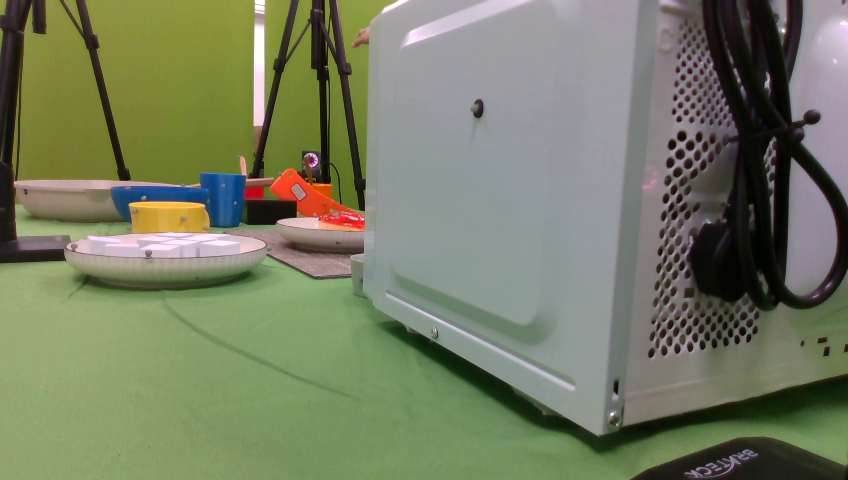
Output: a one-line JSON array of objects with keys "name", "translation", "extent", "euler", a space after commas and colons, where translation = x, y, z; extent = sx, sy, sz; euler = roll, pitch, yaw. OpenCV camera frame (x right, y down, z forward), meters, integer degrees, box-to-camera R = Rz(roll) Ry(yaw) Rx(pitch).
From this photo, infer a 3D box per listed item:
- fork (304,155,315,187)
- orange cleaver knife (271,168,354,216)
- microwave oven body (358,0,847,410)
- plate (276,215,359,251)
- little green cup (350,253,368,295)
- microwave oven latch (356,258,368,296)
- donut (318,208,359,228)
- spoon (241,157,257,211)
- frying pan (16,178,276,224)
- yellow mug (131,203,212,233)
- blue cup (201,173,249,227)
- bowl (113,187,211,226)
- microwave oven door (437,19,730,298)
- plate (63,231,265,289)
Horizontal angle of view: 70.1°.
[{"name": "fork", "translation": [-0.267, -0.133, 1.446], "extent": [0.028, 0.018, 0.207], "euler": [2, -36, 0]}, {"name": "orange cleaver knife", "translation": [-0.236, -0.084, 1.332], "extent": [0.212, 0.077, 0.012], "euler": [31, -10, -31]}, {"name": "microwave oven body", "translation": [0.210, -0.051, 0.471], "extent": [0.444, 0.260, 0.324], "euler": [-1, 7, -28]}, {"name": "plate", "translation": [-0.126, -0.012, 0.950], "extent": [0.209, 0.038, 0.209], "euler": [2, 7, 0]}, {"name": "little green cup", "translation": [-0.048, 0.035, 0.632], "extent": [0.061, 0.038, 0.061], "euler": [3, 6, 0]}, {"name": "microwave oven latch", "translation": [-0.019, 0.031, 0.528], "extent": [0.079, 0.029, 0.030], "euler": [-1, 7, -24]}, {"name": "donut", "translation": [-0.118, -0.024, 0.954], "extent": [0.099, 0.048, 0.099], "euler": [5, 7, 0]}, {"name": "spoon", "translation": [-0.432, -0.140, 1.472], "extent": [0.042, 0.021, 0.193], "euler": [-1, 52, -20]}, {"name": "frying pan", "translation": [-0.554, -0.097, 1.266], "extent": [0.490, 0.102, 0.305], "euler": [-10, 13, -24]}, {"name": "yellow mug", "translation": [-0.356, -0.020, 0.878], "extent": [0.099, 0.064, 0.131], "euler": [5, 7, 22]}, {"name": "blue cup", "translation": [-0.384, -0.077, 1.164], "extent": [0.093, 0.100, 0.092], "euler": [2, 5, 0]}, {"name": "bowl", "translation": [-0.436, -0.046, 1.013], "extent": [0.151, 0.077, 0.151], "euler": [2, 7, 0]}, {"name": "microwave oven door", "translation": [0.181, -0.076, 0.618], "extent": [0.358, 0.243, 0.039], "euler": [-2, 8, -28]}, {"name": "plate", "translation": [-0.288, 0.021, 0.687], "extent": [0.208, 0.039, 0.207], "euler": [2, 8, 0]}]
